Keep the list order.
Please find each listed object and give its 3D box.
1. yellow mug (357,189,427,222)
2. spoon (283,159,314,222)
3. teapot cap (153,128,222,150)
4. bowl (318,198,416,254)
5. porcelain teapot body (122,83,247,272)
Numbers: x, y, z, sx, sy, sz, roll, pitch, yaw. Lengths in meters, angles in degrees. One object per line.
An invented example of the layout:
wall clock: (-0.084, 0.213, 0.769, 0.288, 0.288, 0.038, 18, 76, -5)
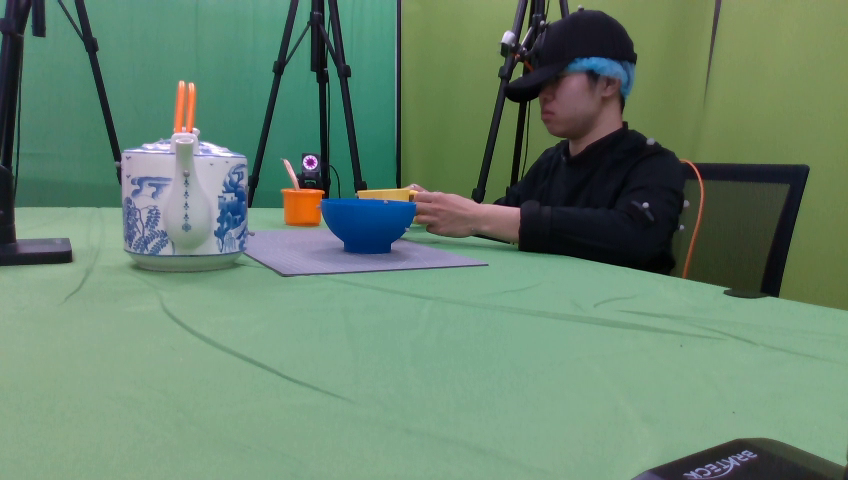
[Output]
yellow mug: (-0.059, -0.063, 1.129, 0.131, 0.064, 0.100, -2, 5, -1)
spoon: (-0.280, -0.111, 1.323, 0.042, 0.193, 0.021, 1, -38, -35)
teapot cap: (-0.294, -0.117, 0.754, 0.085, 0.044, 0.085, 4, 9, 0)
bowl: (-0.089, -0.022, 0.941, 0.151, 0.077, 0.151, 2, 7, 0)
porcelain teapot body: (-0.286, -0.075, 0.733, 0.146, 0.225, 0.204, 0, 8, -24)
